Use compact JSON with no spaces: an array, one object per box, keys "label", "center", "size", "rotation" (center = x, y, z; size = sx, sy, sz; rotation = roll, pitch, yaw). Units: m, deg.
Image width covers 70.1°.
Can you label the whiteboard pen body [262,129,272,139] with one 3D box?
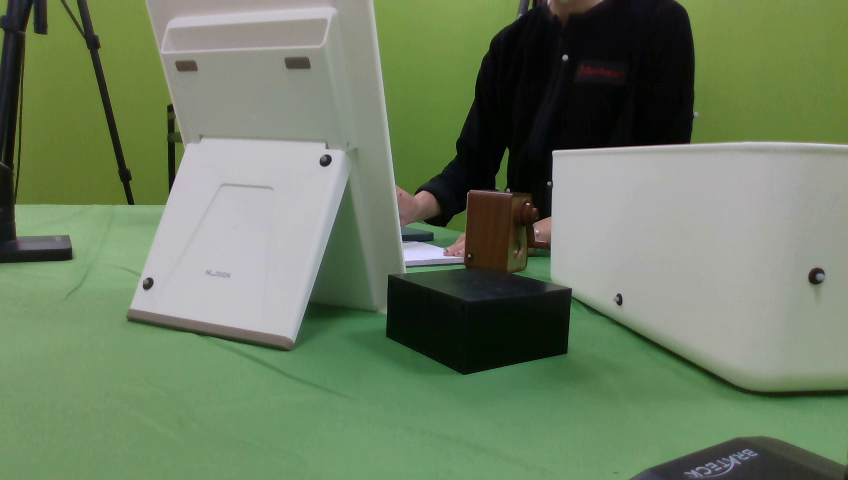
[{"label":"whiteboard pen body","center":[-0.361,-0.245,1.393],"size":[0.017,0.017,0.140],"rotation":[0,5,-20]}]

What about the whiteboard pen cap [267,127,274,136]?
[{"label":"whiteboard pen cap","center":[-0.340,-0.239,1.337],"size":[0.018,0.018,0.033],"rotation":[1,-1,-14]}]

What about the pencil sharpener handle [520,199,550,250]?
[{"label":"pencil sharpener handle","center":[0.147,-0.019,0.785],"size":[0.030,0.068,0.036],"rotation":[8,26,36]}]

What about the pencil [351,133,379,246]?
[{"label":"pencil","center":[-0.093,-0.081,0.956],"size":[0.012,0.193,0.012],"rotation":[-13,-14,-3]}]

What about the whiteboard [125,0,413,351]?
[{"label":"whiteboard","center":[-0.151,-0.050,0.471],"size":[0.216,0.305,0.144],"rotation":[6,27,24]}]

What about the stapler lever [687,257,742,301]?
[{"label":"stapler lever","center":[0.283,0.035,0.585],"size":[0.026,0.040,0.119],"rotation":[11,8,37]}]

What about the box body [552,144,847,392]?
[{"label":"box body","center":[0.290,0.002,0.549],"size":[0.255,0.160,0.363],"rotation":[2,7,-10]}]

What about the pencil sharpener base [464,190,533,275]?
[{"label":"pencil sharpener base","center":[0.102,-0.012,0.813],"size":[0.076,0.107,0.061],"rotation":[8,9,36]}]

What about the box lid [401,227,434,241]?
[{"label":"box lid","center":[-0.196,-0.015,1.105],"size":[0.373,0.015,0.262],"rotation":[-1,7,-32]}]

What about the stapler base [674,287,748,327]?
[{"label":"stapler base","center":[0.281,0.061,0.586],"size":[0.041,0.024,0.131],"rotation":[11,9,37]}]

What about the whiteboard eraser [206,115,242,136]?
[{"label":"whiteboard eraser","center":[-0.438,-0.249,1.320],"size":[0.056,0.042,0.112],"rotation":[-3,9,-30]}]
